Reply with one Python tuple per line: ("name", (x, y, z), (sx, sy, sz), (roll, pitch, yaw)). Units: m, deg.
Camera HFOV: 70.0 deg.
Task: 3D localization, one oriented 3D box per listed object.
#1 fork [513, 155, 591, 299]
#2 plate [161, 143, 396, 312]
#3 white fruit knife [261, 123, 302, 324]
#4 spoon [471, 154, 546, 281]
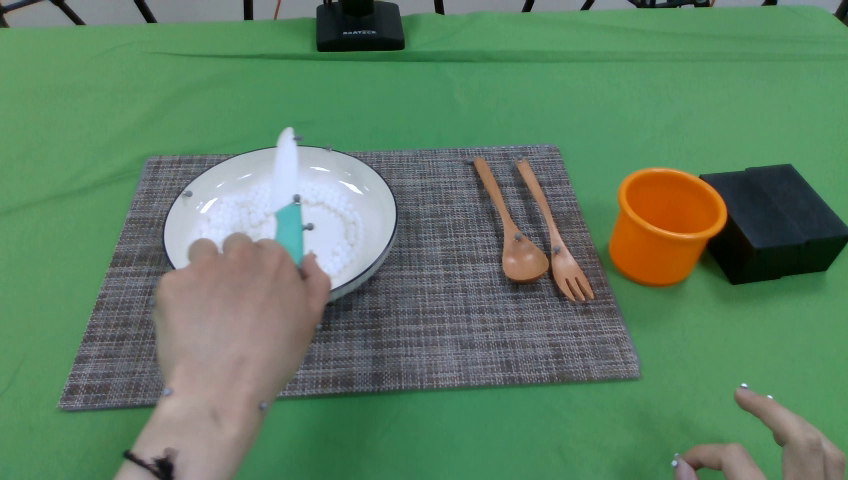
("fork", (0.118, -0.020, 0.592), (0.028, 0.019, 0.205), (-10, 49, -3))
("plate", (-0.129, -0.013, 0.561), (0.209, 0.038, 0.207), (1, 46, -1))
("white fruit knife", (-0.110, -0.025, 0.470), (0.027, 0.016, 0.205), (-7, 51, -5))
("spoon", (0.075, -0.030, 0.596), (0.041, 0.022, 0.191), (-20, 48, 4))
